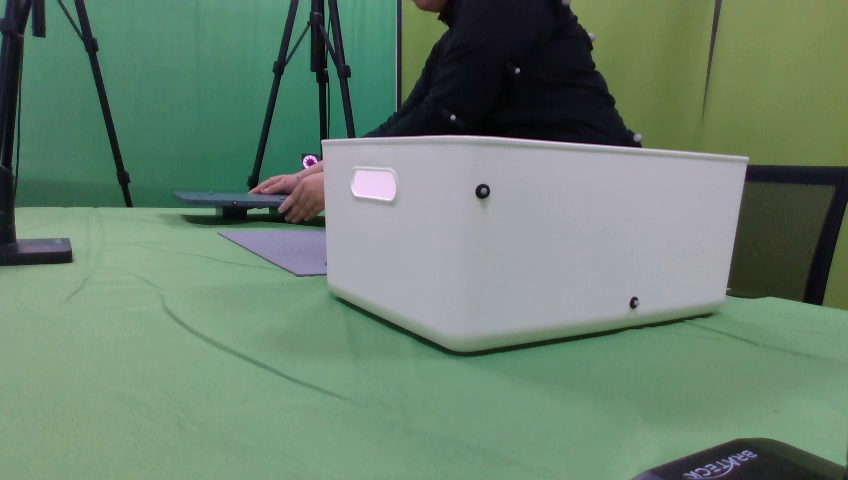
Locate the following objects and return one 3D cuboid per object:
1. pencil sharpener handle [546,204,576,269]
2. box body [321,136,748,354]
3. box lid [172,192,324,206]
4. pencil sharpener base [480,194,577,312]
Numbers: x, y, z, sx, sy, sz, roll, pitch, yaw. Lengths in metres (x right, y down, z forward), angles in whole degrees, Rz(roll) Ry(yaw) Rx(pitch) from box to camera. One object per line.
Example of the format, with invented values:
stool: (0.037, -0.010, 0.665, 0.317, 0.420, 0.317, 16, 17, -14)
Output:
pencil sharpener handle: (0.145, -0.003, 0.619, 0.031, 0.067, 0.036, -1, 17, -33)
box body: (0.105, -0.011, 0.604, 0.366, 0.160, 0.253, -2, 8, -33)
box lid: (-0.355, -0.091, 1.350, 0.373, 0.015, 0.262, -1, 8, -29)
pencil sharpener base: (0.103, 0.011, 0.591, 0.077, 0.107, 0.061, -1, 7, -33)
